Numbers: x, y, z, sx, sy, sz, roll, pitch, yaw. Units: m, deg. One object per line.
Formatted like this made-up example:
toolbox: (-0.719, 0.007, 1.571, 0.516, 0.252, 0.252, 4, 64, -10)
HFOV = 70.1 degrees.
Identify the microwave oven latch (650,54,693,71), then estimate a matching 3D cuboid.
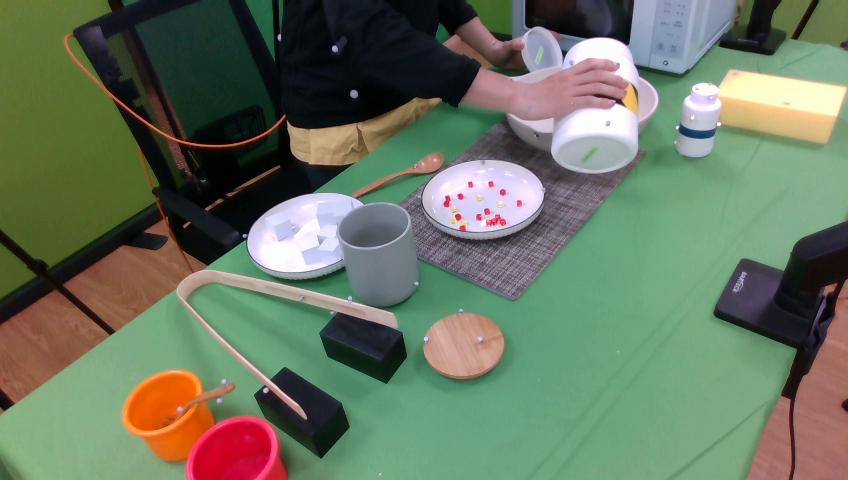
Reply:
microwave oven latch: (0.531, -0.386, 1.301, 0.078, 0.029, 0.030, 26, 51, 33)

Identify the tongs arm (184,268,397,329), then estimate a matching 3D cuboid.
tongs arm: (-0.203, 0.084, 0.847, 0.382, 0.027, 0.051, 11, 44, 35)

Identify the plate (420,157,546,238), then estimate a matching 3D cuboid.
plate: (0.099, -0.067, 1.017, 0.209, 0.038, 0.208, -4, 40, 4)

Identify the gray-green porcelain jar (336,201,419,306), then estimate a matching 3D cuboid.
gray-green porcelain jar: (-0.064, 0.024, 0.872, 0.106, 0.127, 0.105, -4, 41, 4)

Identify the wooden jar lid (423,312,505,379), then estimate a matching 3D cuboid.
wooden jar lid: (0.053, 0.142, 0.800, 0.108, 0.021, 0.108, -5, 39, 4)

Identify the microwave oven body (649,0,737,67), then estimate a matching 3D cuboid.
microwave oven body: (0.475, -0.602, 1.411, 0.438, 0.261, 0.327, 23, 50, 32)

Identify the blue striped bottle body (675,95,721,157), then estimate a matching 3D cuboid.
blue striped bottle body: (0.486, -0.213, 1.072, 0.063, 0.121, 0.063, -5, 41, 4)

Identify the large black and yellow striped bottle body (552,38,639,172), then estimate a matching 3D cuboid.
large black and yellow striped bottle body: (0.277, -0.217, 0.973, 0.130, 0.131, 0.183, 3, 69, 12)

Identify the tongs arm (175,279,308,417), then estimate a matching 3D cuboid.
tongs arm: (-0.255, 0.132, 0.800, 0.028, 0.028, 0.384, -41, 40, -23)

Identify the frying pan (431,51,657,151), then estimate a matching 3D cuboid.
frying pan: (0.216, -0.303, 1.223, 0.484, 0.103, 0.308, 30, 50, 24)

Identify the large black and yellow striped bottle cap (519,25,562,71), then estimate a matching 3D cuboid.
large black and yellow striped bottle cap: (0.258, -0.415, 1.332, 0.115, 0.115, 0.018, -40, 14, -32)

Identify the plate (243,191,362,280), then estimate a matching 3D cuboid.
plate: (-0.188, -0.005, 0.992, 0.207, 0.039, 0.206, -4, 41, 4)

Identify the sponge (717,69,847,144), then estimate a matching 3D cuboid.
sponge: (0.663, -0.256, 1.141, 0.205, 0.061, 0.118, 19, 47, 27)

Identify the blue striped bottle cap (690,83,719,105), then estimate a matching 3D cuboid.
blue striped bottle cap: (0.481, -0.251, 1.038, 0.044, 0.021, 0.044, -5, 40, 5)

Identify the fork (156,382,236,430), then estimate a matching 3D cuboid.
fork: (-0.262, 0.189, 0.690, 0.018, 0.206, 0.028, 49, 43, -7)

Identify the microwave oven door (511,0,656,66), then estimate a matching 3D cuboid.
microwave oven door: (0.350, -0.539, 1.349, 0.353, 0.245, 0.039, 24, 50, 31)

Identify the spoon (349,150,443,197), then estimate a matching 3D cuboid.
spoon: (-0.051, -0.123, 1.120, 0.194, 0.022, 0.041, -23, 60, -18)
